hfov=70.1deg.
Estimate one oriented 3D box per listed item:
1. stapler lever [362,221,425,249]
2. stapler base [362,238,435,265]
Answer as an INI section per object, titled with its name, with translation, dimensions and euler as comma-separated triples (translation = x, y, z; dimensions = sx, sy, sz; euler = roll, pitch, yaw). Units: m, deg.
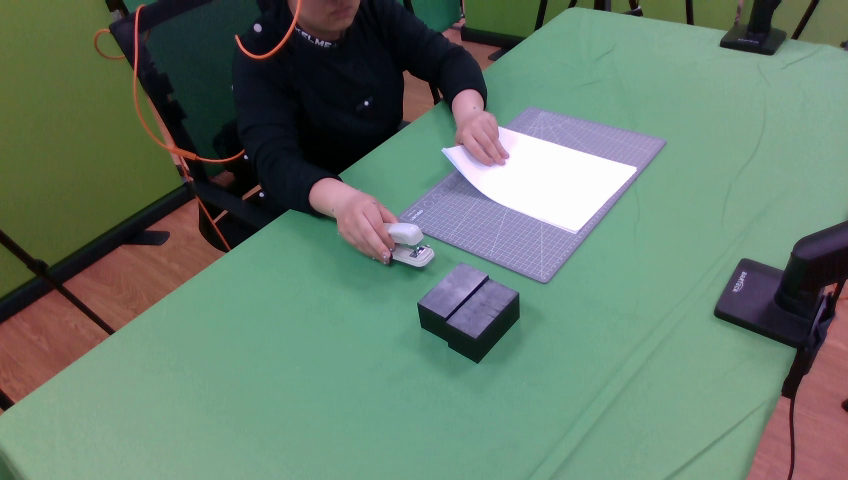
[stapler lever]
translation = -0.050, -0.014, 0.938
dimensions = 0.117, 0.040, 0.027
euler = 15, 43, 35
[stapler base]
translation = -0.043, 0.006, 0.952
dimensions = 0.129, 0.024, 0.041
euler = 15, 43, 35
